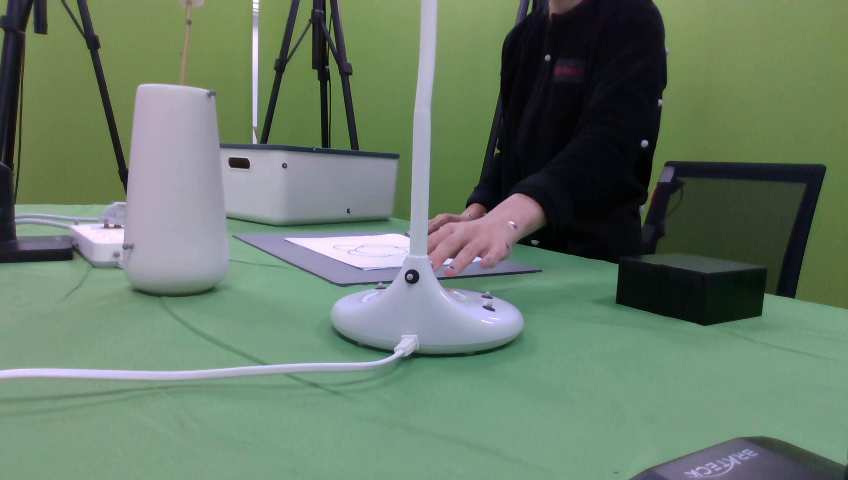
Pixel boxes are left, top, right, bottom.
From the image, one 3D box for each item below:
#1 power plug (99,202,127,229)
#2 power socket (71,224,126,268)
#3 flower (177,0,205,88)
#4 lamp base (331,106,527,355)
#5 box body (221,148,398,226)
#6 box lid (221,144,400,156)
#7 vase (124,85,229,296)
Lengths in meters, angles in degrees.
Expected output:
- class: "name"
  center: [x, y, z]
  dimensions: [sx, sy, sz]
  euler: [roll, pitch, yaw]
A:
- class: "power plug"
  center: [-0.414, -0.026, 0.848]
  dimensions: [0.073, 0.052, 0.035]
  euler: [5, 5, -27]
- class: "power socket"
  center: [-0.409, 0.004, 0.793]
  dimensions: [0.072, 0.032, 0.225]
  euler: [-2, 8, -37]
- class: "flower"
  center: [-0.243, -0.131, 0.609]
  dimensions: [0.044, 0.361, 0.038]
  euler: [-5, -12, 11]
- class: "lamp base"
  center: [0.006, -0.012, 0.478]
  dimensions: [0.161, 0.180, 0.179]
  euler: [2, 10, 2]
- class: "box body"
  center: [-0.264, -0.129, 1.380]
  dimensions: [0.253, 0.160, 0.366]
  euler: [8, 9, 39]
- class: "box lid"
  center: [-0.263, -0.202, 1.369]
  dimensions: [0.262, 0.015, 0.373]
  euler: [9, 10, 39]
- class: "vase"
  center: [-0.244, -0.047, 0.598]
  dimensions: [0.098, 0.200, 0.098]
  euler: [3, 8, 0]
